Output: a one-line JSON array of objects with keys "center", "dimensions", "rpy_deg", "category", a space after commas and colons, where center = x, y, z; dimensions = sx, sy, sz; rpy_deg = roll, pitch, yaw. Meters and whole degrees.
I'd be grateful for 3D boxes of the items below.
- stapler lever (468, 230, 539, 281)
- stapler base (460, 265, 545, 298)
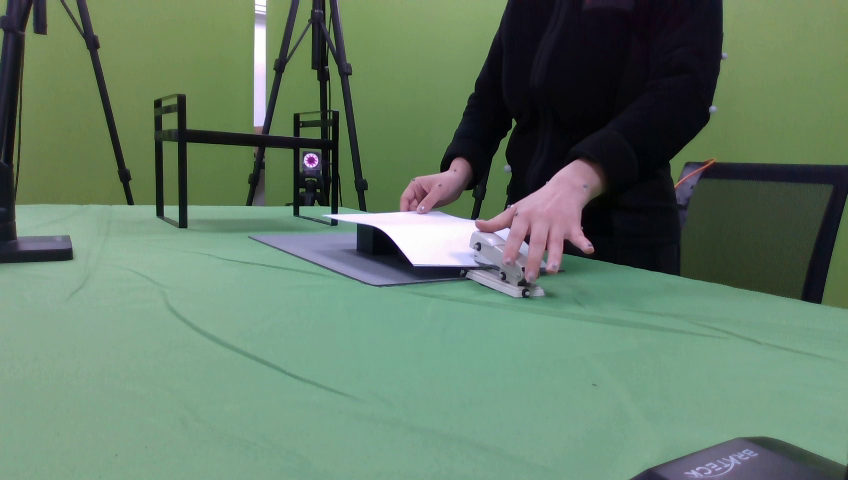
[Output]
[{"center": [0.089, 0.016, 0.699], "dimensions": [0.027, 0.040, 0.117], "rpy_deg": [-5, 13, -26], "category": "stapler lever"}, {"center": [0.087, 0.041, 0.705], "dimensions": [0.041, 0.024, 0.130], "rpy_deg": [-5, 13, -26], "category": "stapler base"}]
